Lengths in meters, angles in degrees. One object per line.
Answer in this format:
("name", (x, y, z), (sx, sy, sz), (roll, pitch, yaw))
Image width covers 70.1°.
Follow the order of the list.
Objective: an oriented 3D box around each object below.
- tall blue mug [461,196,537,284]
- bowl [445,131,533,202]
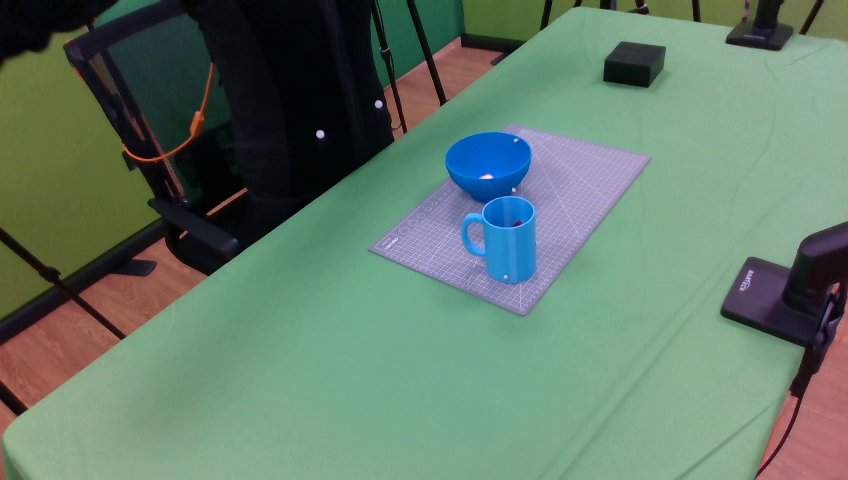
("tall blue mug", (0.112, 0.002, 0.889), (0.107, 0.108, 0.077), (-10, 41, 0))
("bowl", (0.115, -0.119, 1.056), (0.151, 0.077, 0.150), (-6, 40, 5))
